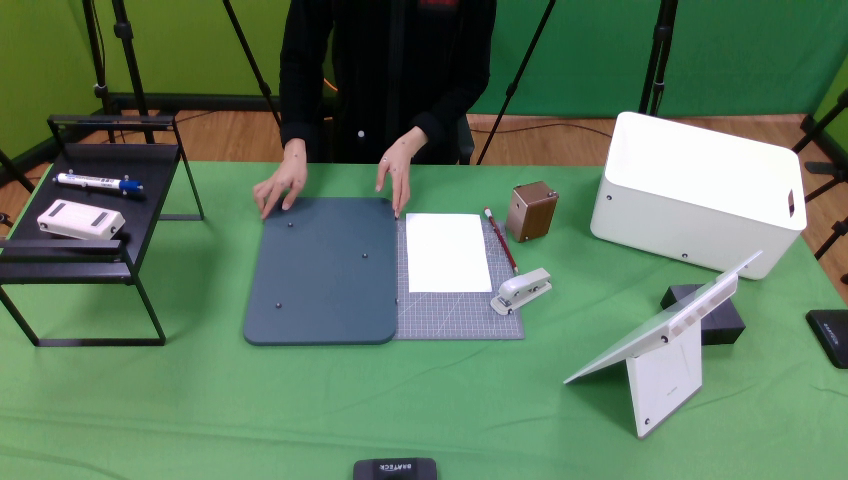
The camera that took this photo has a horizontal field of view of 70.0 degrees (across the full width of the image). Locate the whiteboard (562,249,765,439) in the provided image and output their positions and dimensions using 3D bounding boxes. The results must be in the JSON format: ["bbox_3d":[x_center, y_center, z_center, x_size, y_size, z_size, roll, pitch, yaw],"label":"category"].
[{"bbox_3d":[0.386,0.176,0.905,0.217,0.306,0.143,-26,72,-26],"label":"whiteboard"}]

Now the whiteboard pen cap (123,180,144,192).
[{"bbox_3d":[-0.479,-0.089,0.993,0.033,0.018,0.018,7,46,14],"label":"whiteboard pen cap"}]

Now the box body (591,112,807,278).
[{"bbox_3d":[0.540,-0.092,1.230,0.363,0.161,0.253,16,47,11],"label":"box body"}]

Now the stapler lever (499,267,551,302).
[{"bbox_3d":[0.185,0.076,1.101,0.118,0.040,0.026,-25,56,-29],"label":"stapler lever"}]

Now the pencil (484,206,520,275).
[{"bbox_3d":[0.156,-0.002,1.218,0.012,0.012,0.192,-10,48,-13],"label":"pencil"}]

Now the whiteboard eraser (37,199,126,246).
[{"bbox_3d":[-0.518,-0.025,0.918,0.112,0.042,0.055,12,49,7],"label":"whiteboard eraser"}]

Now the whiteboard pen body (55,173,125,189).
[{"bbox_3d":[-0.539,-0.095,0.998,0.141,0.017,0.017,6,46,6],"label":"whiteboard pen body"}]

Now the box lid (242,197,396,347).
[{"bbox_3d":[-0.186,0.046,1.147,0.263,0.015,0.369,0,46,-3],"label":"box lid"}]

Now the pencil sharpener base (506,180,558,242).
[{"bbox_3d":[0.216,-0.058,1.211,0.077,0.107,0.061,-16,49,-19],"label":"pencil sharpener base"}]

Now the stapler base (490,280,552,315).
[{"bbox_3d":[0.181,0.094,1.118,0.130,0.024,0.041,-24,56,-29],"label":"stapler base"}]

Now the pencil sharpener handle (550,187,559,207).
[{"bbox_3d":[0.261,-0.084,1.221,0.031,0.068,0.036,-16,65,-19],"label":"pencil sharpener handle"}]
